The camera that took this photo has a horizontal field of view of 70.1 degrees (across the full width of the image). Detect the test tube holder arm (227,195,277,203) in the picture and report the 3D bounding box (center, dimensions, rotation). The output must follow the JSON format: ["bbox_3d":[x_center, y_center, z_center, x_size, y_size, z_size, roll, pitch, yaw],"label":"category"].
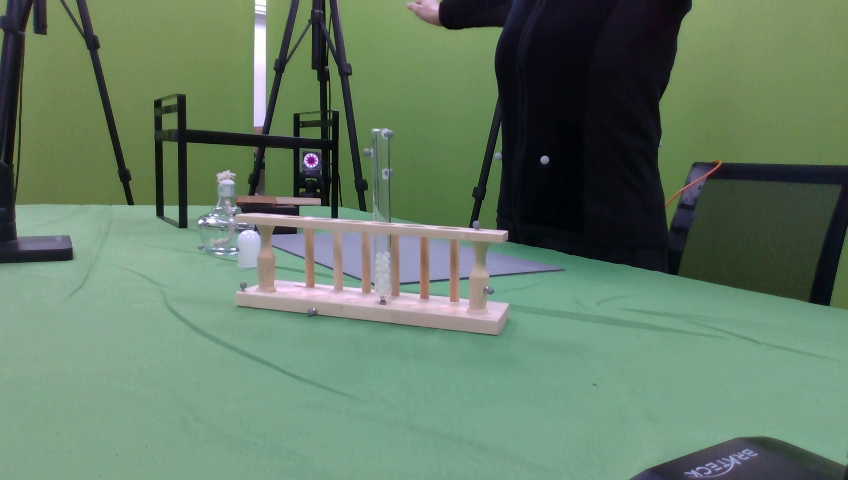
[{"bbox_3d":[-0.308,-0.074,1.088,0.088,0.015,0.010,-2,-7,-34],"label":"test tube holder arm"}]

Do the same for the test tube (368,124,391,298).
[{"bbox_3d":[-0.038,-0.023,0.519,0.017,0.150,0.017,-1,12,0],"label":"test tube"}]

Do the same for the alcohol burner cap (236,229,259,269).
[{"bbox_3d":[-0.220,0.010,0.759,0.034,0.048,0.034,0,12,0],"label":"alcohol burner cap"}]

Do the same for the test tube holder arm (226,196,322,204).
[{"bbox_3d":[-0.274,-0.074,1.118,0.179,0.015,0.013,-2,-7,-34],"label":"test tube holder arm"}]

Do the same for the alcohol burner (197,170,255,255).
[{"bbox_3d":[-0.280,-0.039,0.856,0.078,0.119,0.078,2,9,0],"label":"alcohol burner"}]

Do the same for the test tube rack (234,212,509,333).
[{"bbox_3d":[-0.046,0.023,0.547,0.242,0.085,0.067,4,8,15],"label":"test tube rack"}]
